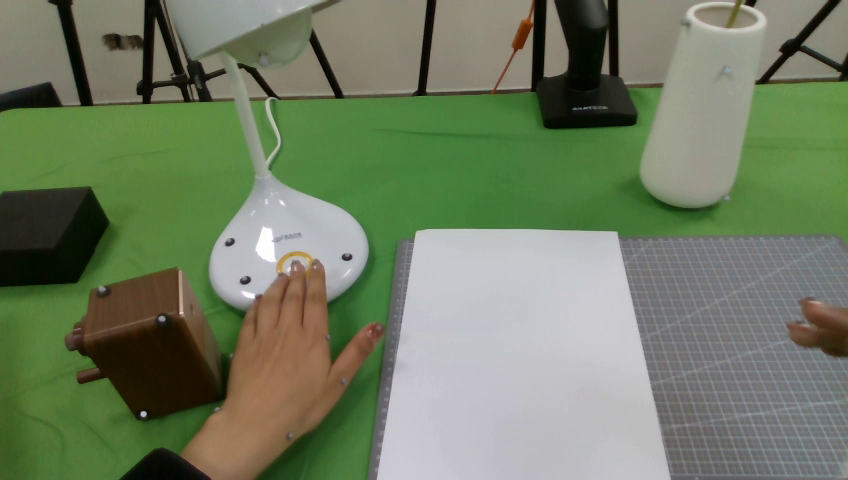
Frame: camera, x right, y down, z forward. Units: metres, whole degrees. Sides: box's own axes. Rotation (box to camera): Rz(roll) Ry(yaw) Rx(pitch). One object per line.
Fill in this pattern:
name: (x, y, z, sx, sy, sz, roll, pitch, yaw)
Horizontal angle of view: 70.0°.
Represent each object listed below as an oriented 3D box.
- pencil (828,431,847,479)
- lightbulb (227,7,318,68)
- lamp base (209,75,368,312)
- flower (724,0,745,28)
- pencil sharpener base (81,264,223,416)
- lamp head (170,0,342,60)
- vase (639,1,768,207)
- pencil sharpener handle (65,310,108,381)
pencil: (0.215, 0.051, 0.286, 0.012, 0.012, 0.194, 25, 47, 29)
lightbulb: (-0.099, -0.156, 0.354, 0.059, 0.108, 0.059, -12, 19, 5)
lamp base: (-0.148, -0.052, 0.577, 0.161, 0.182, 0.177, -22, 43, -19)
flower: (0.270, -0.179, 0.548, 0.038, 0.365, 0.043, -42, 66, -17)
pencil sharpener base: (-0.215, 0.083, 0.486, 0.077, 0.108, 0.060, -15, 43, -11)
lamp head: (-0.109, -0.180, 0.352, 0.112, 0.123, 0.112, -23, 16, 8)
vase: (0.282, -0.132, 0.618, 0.098, 0.202, 0.097, -3, 41, 3)
pencil sharpener handle: (-0.264, 0.086, 0.468, 0.031, 0.068, 0.035, -15, 46, -11)
